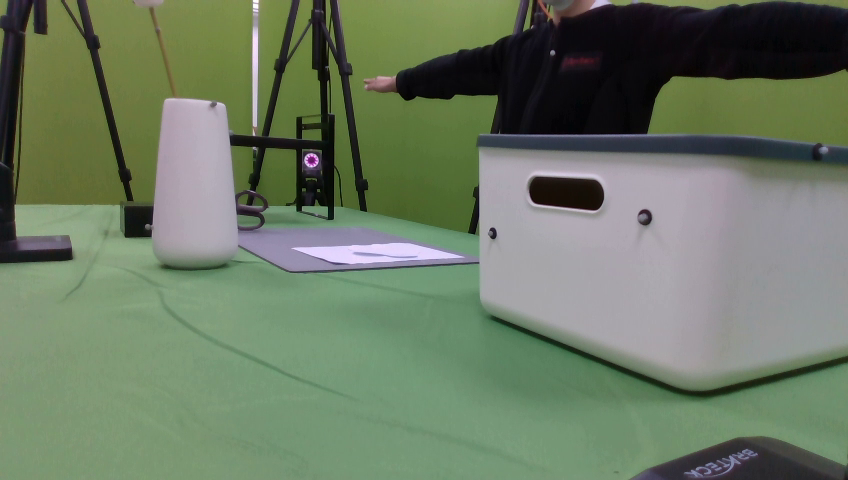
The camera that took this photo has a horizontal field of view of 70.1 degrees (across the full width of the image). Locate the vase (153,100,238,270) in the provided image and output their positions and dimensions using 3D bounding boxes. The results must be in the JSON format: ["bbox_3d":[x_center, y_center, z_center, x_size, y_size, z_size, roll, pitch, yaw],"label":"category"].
[{"bbox_3d":[-0.278,-0.066,0.736,0.098,0.200,0.098,2,9,0],"label":"vase"}]

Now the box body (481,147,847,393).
[{"bbox_3d":[0.255,0.001,0.541,0.366,0.160,0.253,-2,9,-31],"label":"box body"}]

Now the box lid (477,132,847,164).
[{"bbox_3d":[0.257,-0.072,0.531,0.373,0.015,0.262,-1,8,-31],"label":"box lid"}]

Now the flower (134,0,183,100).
[{"bbox_3d":[-0.282,-0.147,0.713,0.038,0.362,0.044,-23,24,-31],"label":"flower"}]

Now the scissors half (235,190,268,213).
[{"bbox_3d":[-0.363,-0.070,1.060,0.176,0.040,0.013,0,16,-23],"label":"scissors half"}]

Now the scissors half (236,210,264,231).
[{"bbox_3d":[-0.369,-0.051,1.064,0.176,0.040,0.012,19,13,-27],"label":"scissors half"}]

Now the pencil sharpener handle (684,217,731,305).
[{"bbox_3d":[0.225,0.017,0.476,0.036,0.067,0.030,10,8,4],"label":"pencil sharpener handle"}]

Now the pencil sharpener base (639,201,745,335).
[{"bbox_3d":[0.231,0.023,0.528,0.061,0.107,0.077,3,8,5],"label":"pencil sharpener base"}]

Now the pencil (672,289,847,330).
[{"bbox_3d":[0.330,0.066,0.609,0.012,0.012,0.193,-1,6,-28],"label":"pencil"}]
